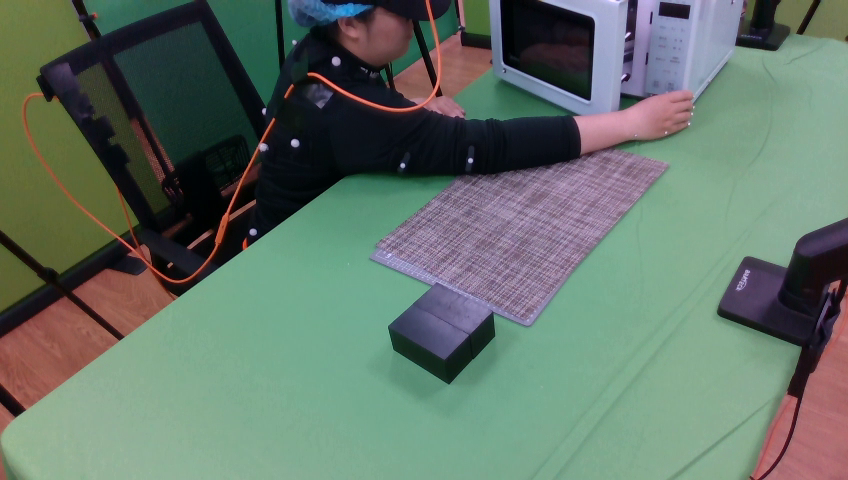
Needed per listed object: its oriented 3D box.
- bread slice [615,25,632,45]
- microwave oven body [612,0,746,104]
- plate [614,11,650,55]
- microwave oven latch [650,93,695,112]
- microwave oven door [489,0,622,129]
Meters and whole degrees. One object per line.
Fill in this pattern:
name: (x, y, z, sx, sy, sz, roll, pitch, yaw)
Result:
bread slice: (0.394, -0.453, 1.344, 0.105, 0.019, 0.130, -37, 42, -26)
microwave oven body: (0.417, -0.486, 1.290, 0.438, 0.261, 0.327, 21, 50, 33)
plate: (0.390, -0.454, 1.339, 0.209, 0.038, 0.208, -5, 39, 5)
microwave oven latch: (0.483, -0.275, 1.178, 0.030, 0.029, 0.078, -34, 45, -24)
microwave oven door: (0.254, -0.393, 1.204, 0.039, 0.245, 0.352, -29, 44, -21)
